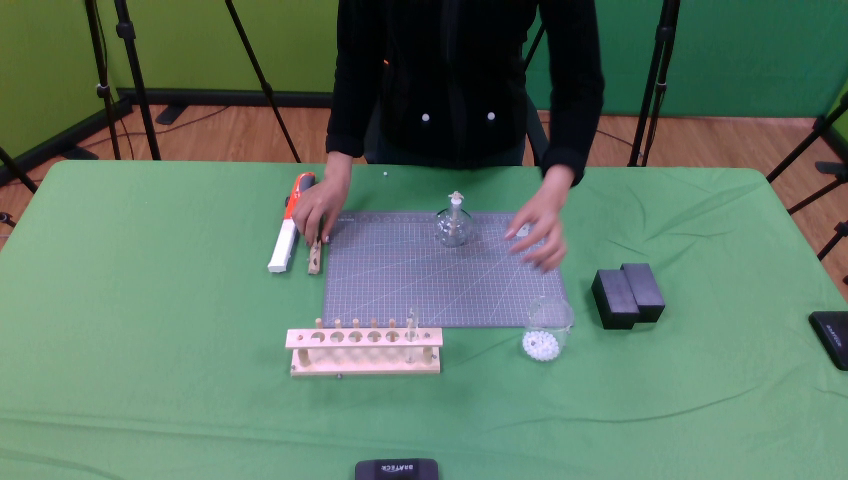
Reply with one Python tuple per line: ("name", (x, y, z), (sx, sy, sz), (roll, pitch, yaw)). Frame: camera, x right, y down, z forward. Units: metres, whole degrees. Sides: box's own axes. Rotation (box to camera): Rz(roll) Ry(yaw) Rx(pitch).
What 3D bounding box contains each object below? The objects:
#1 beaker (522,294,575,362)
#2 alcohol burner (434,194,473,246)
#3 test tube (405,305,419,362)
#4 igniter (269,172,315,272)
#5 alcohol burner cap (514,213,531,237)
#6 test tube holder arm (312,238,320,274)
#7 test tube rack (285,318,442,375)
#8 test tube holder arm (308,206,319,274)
("beaker", (0.203, 0.152, 1.013), (0.084, 0.101, 0.073), (-28, 53, -26))
("alcohol burner", (0.059, -0.046, 1.179), (0.078, 0.120, 0.077), (1, 48, -1))
("test tube", (-0.019, 0.148, 0.942), (0.017, 0.151, 0.017), (2, 50, -2))
("igniter", (-0.263, -0.044, 1.219), (0.057, 0.025, 0.275), (-1, 46, 7))
("alcohol burner cap", (0.200, -0.033, 1.227), (0.034, 0.048, 0.033), (1, 45, -1))
("test tube holder arm", (-0.207, 0.029, 1.159), (0.010, 0.015, 0.087), (24, 38, -27))
("test tube rack", (-0.095, 0.168, 0.986), (0.242, 0.085, 0.066), (0, 46, -4))
("test tube holder arm", (-0.216, -0.005, 1.188), (0.013, 0.015, 0.177), (24, 38, -28))
